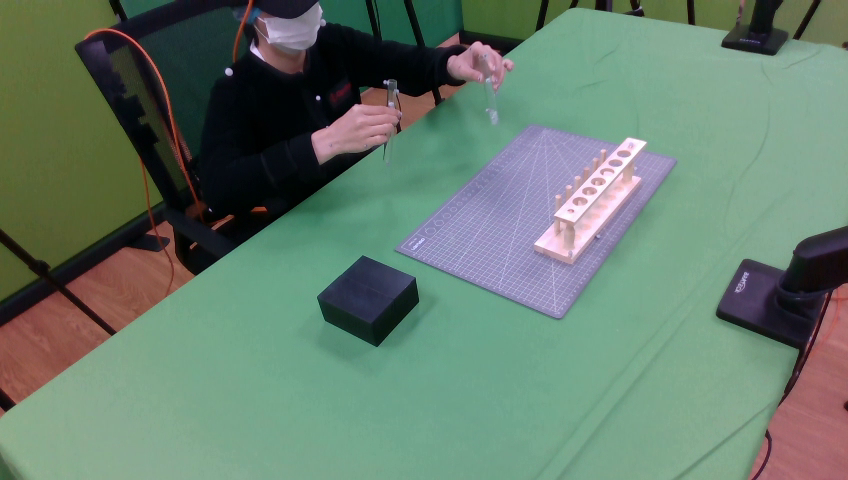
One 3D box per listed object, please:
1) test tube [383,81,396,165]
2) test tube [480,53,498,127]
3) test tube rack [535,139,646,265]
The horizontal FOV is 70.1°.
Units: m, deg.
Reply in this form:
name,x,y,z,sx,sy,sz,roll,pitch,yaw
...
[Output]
name,x,y,z,sx,sy,sz,roll,pitch,yaw
test tube,-0.059,-0.199,1.041,0.017,0.150,0.017,4,33,-2
test tube,0.114,-0.258,1.054,0.017,0.151,0.017,-7,49,9
test tube rack,0.269,-0.071,0.964,0.066,0.085,0.243,23,49,32
